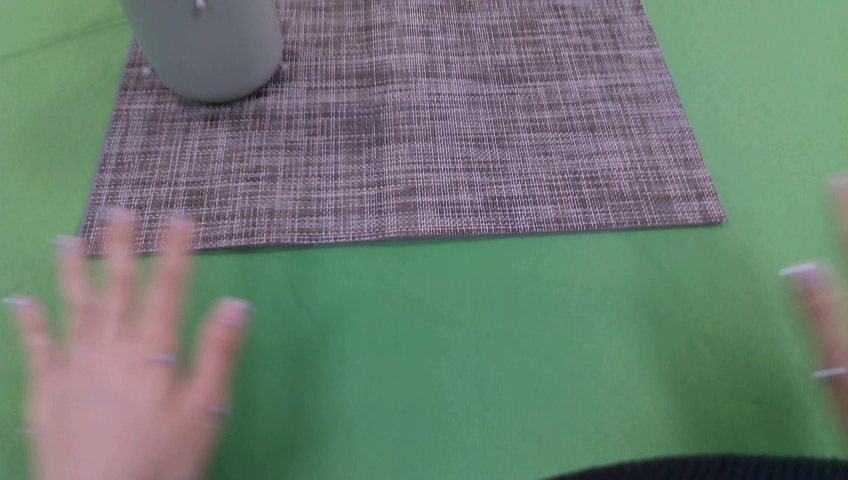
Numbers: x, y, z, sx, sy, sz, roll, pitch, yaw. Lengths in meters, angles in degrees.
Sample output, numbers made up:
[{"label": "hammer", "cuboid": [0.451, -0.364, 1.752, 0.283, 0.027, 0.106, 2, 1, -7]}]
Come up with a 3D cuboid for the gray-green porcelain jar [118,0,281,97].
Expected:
[{"label": "gray-green porcelain jar", "cuboid": [-0.165, -0.178, 0.444, 0.106, 0.127, 0.105, 1, 59, -1]}]
